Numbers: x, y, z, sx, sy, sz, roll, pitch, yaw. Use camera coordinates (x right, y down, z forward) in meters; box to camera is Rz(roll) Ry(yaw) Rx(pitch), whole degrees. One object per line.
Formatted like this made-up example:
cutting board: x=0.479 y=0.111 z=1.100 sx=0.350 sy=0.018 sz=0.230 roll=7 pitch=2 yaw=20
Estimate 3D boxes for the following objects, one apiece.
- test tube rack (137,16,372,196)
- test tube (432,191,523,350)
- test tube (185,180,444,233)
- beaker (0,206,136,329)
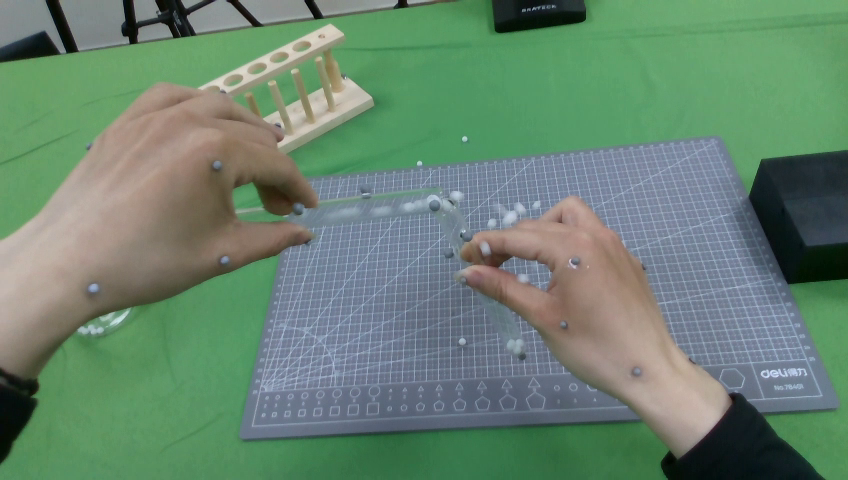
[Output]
test tube rack: x=-0.186 y=-0.156 z=0.693 sx=0.242 sy=0.086 sz=0.066 roll=-33 pitch=53 yaw=-16
test tube: x=0.039 y=0.027 z=0.405 sx=0.017 sy=0.152 sz=0.017 roll=-17 pitch=39 yaw=15
test tube: x=-0.063 y=-0.020 z=0.352 sx=0.150 sy=0.017 sz=0.017 roll=-7 pitch=50 yaw=-2
beaker: x=-0.319 y=0.027 z=0.556 sx=0.073 sy=0.101 sz=0.083 roll=18 pitch=55 yaw=23
